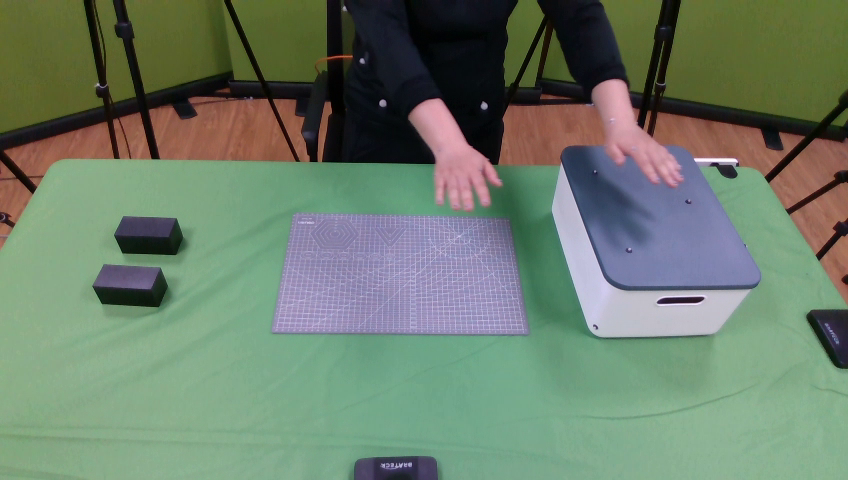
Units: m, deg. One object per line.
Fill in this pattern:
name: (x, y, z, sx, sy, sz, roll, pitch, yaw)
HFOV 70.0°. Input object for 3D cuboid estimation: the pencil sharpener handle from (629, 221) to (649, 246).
pencil sharpener handle: (0.406, -0.019, 1.162, 0.036, 0.068, 0.030, -7, 46, 0)

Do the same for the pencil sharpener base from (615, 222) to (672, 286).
pencil sharpener base: (0.408, 0.026, 1.135, 0.061, 0.107, 0.076, -2, 46, -5)

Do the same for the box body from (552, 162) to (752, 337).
box body: (0.401, -0.001, 1.131, 0.254, 0.161, 0.361, -1, 46, -5)

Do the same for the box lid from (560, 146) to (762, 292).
box lid: (0.404, -0.052, 1.076, 0.263, 0.015, 0.369, -1, 45, -5)
